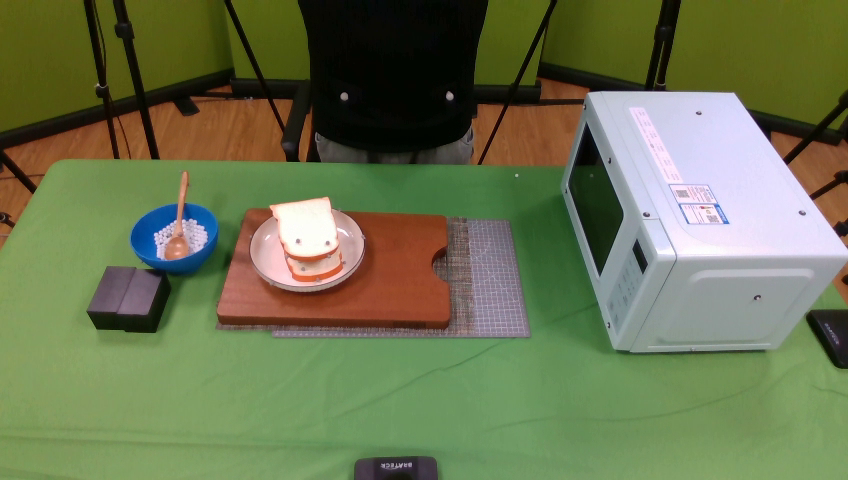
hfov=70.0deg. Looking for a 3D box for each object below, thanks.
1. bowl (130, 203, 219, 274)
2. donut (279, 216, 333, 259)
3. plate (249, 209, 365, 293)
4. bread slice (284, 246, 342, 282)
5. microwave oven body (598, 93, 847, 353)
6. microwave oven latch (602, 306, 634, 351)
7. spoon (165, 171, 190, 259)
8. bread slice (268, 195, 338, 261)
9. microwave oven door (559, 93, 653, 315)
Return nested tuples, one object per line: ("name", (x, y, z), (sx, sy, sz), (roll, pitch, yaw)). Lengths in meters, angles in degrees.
("bowl", (-0.450, 0.010, 1.116), (0.151, 0.077, 0.150), (2, 45, -2))
("donut", (-0.213, -0.005, 1.097), (0.099, 0.048, 0.098), (-2, 41, 2))
("plate", (-0.212, 0.021, 1.113), (0.208, 0.039, 0.206), (3, 45, -2))
("bread slice", (-0.205, 0.024, 1.115), (0.105, 0.019, 0.130), (-13, 45, -14))
("microwave oven body", (0.476, -0.041, 1.110), (0.326, 0.261, 0.438), (-1, 45, -4))
("microwave oven latch", (0.332, 0.153, 1.044), (0.030, 0.029, 0.078), (-1, 45, -4))
("spoon", (-0.452, -0.046, 1.129), (0.041, 0.022, 0.193), (-1, 69, -3))
("bread slice", (-0.207, -0.020, 1.071), (0.107, 0.018, 0.133), (-14, 55, -18))
("microwave oven door", (0.327, -0.074, 1.123), (0.039, 0.245, 0.353), (-1, 46, -5))
